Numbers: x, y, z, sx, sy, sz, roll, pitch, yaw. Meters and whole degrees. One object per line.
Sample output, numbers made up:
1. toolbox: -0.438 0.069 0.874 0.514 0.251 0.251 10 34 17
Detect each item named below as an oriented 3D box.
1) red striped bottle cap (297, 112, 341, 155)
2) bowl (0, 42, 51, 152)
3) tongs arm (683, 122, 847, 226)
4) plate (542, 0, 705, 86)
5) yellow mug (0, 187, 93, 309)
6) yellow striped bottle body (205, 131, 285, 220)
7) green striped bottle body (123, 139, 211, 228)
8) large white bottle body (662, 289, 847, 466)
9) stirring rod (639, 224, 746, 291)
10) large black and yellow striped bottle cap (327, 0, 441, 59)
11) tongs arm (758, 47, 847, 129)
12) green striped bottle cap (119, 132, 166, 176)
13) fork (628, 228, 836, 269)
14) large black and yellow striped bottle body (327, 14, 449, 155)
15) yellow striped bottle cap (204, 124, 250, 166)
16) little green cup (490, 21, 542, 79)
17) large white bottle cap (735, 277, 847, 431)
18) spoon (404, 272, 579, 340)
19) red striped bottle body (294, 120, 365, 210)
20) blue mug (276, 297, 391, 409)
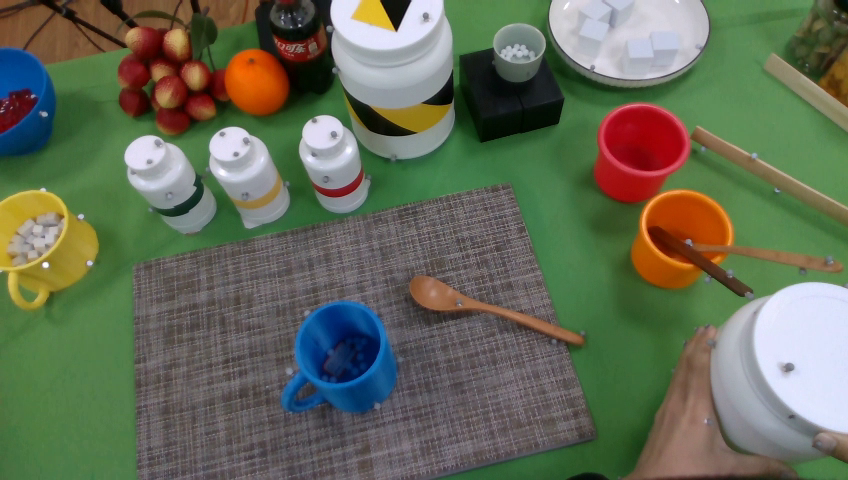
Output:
1. red striped bottle cap: -0.110 -0.111 0.631 0.044 0.018 0.044 1 62 -1
2. bowl: -0.530 -0.163 0.754 0.151 0.077 0.150 -1 64 2
3. tongs arm: 0.476 -0.041 0.678 0.382 0.027 0.050 36 67 17
4. plate: 0.258 -0.284 0.802 0.209 0.038 0.207 -1 65 2
5. yellow mug: -0.438 0.013 0.674 0.100 0.064 0.130 -4 65 0
6. yellow striped bottle body: -0.201 -0.076 0.676 0.063 0.121 0.062 -1 64 3
7. green striped bottle body: -0.288 -0.066 0.675 0.063 0.120 0.062 -1 64 2
8. large white bottle body: 0.298 0.120 0.525 0.130 0.186 0.129 -1 64 3
9. stirring rod: 0.261 0.013 0.606 0.014 0.006 0.174 -10 21 -6
10. large black and yellow striped bottle cap: -0.040 -0.234 0.614 0.115 0.019 0.114 -2 66 5
11. tongs arm: 0.541 -0.098 0.705 0.028 0.028 0.384 -30 67 -19
12. green striped bottle cap: -0.292 -0.089 0.628 0.044 0.020 0.044 0 65 0
13. fork: 0.292 0.008 0.599 0.028 0.019 0.206 -50 28 -18
14. large black and yellow striped bottle body: -0.037 -0.197 0.692 0.131 0.185 0.129 -1 64 2
15. yellow striped bottle cap: -0.205 -0.099 0.629 0.044 0.019 0.044 1 60 -1
16. little green cup: 0.108 -0.225 0.723 0.061 0.039 0.061 0 62 1
17. large white bottle cap: 0.293 0.082 0.449 0.115 0.018 0.114 -1 64 2
18. spoon: 0.070 0.073 0.644 0.193 0.022 0.041 16 44 9
19. red striped bottle body: -0.106 -0.088 0.678 0.063 0.120 0.062 -2 63 5
20. blue mug: -0.090 0.121 0.582 0.116 0.106 0.081 -36 68 -14
